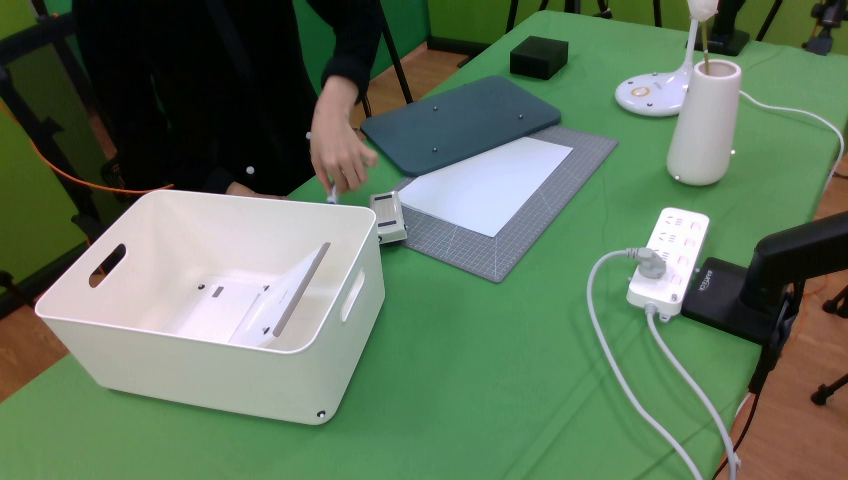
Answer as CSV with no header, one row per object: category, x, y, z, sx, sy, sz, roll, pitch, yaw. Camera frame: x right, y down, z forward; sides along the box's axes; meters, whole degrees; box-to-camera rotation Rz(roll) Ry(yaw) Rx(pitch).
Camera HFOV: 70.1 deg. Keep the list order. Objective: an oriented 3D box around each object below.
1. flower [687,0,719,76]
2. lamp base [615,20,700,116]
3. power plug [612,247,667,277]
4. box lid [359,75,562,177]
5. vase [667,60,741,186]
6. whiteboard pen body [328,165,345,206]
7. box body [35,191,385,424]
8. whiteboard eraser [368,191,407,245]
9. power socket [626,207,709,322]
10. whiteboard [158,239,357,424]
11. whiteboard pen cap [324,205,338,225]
flower,0.436,-0.242,0.934,0.038,0.364,0.043,-24,49,9
lamp base,0.484,-0.364,1.211,0.180,0.181,0.159,-15,41,-14
power plug,0.306,0.031,0.852,0.072,0.053,0.035,21,48,38
box lid,0.074,-0.249,1.267,0.373,0.015,0.261,-23,42,-18
vase,0.463,-0.189,0.994,0.098,0.201,0.097,-4,40,4
whiteboard pen body,-0.140,-0.077,0.962,0.017,0.017,0.140,-4,39,4
box body,-0.254,0.081,0.807,0.363,0.161,0.253,5,42,14
whiteboard eraser,-0.061,-0.035,1.006,0.056,0.042,0.112,-9,40,-4
power socket,0.360,0.026,0.886,0.072,0.033,0.227,17,46,27
whiteboard,-0.242,0.093,0.809,0.304,0.144,0.216,5,44,13
whiteboard pen cap,-0.140,-0.039,0.918,0.018,0.018,0.033,-4,38,4
